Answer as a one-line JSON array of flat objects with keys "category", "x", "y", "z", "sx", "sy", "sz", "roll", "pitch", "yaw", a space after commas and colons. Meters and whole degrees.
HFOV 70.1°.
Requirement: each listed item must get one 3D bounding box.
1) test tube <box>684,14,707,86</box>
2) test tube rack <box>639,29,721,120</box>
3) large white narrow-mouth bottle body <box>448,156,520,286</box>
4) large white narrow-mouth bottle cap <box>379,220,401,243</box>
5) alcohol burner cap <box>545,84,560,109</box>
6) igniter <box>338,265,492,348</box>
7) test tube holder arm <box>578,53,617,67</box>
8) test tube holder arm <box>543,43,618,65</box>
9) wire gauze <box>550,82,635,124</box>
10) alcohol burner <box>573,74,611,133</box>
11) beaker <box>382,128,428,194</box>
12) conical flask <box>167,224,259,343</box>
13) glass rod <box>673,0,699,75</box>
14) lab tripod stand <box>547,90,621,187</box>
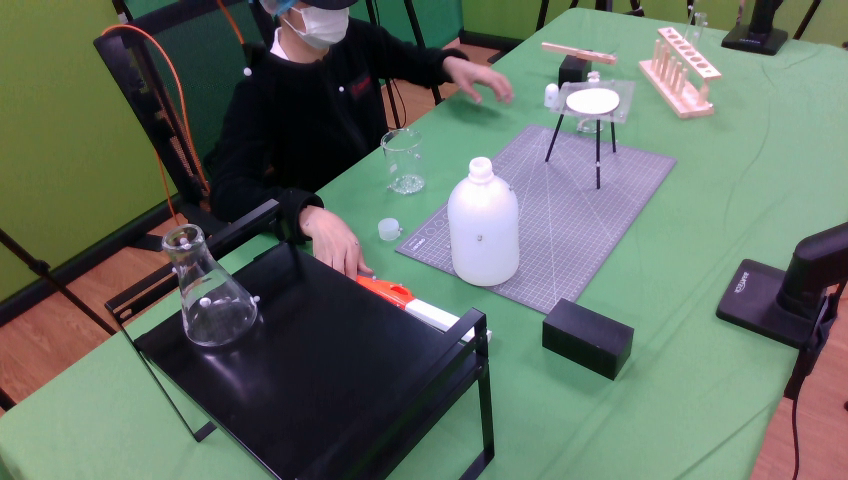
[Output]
[{"category": "test tube", "x": 0.541, "y": -0.379, "z": 1.216, "sx": 0.017, "sy": 0.151, "sz": 0.017, "roll": -2, "pitch": 44, "yaw": 2}, {"category": "test tube rack", "x": 0.527, "y": -0.351, "z": 1.262, "sx": 0.067, "sy": 0.085, "sz": 0.241, "roll": -8, "pitch": 40, "yaw": 1}, {"category": "large white narrow-mouth bottle body", "x": 0.086, "y": -0.032, "z": 0.869, "sx": 0.102, "sy": 0.195, "sz": 0.101, "roll": -4, "pitch": 40, "yaw": 4}, {"category": "large white narrow-mouth bottle cap", "x": -0.057, "y": -0.015, "z": 1.012, "sx": 0.038, "sy": 0.024, "sz": 0.037, "roll": -4, "pitch": 40, "yaw": 4}, {"category": "alcohol burner cap", "x": 0.274, "y": -0.308, "z": 1.285, "sx": 0.034, "sy": 0.048, "sz": 0.033, "roll": -5, "pitch": 42, "yaw": 5}, {"category": "igniter", "x": -0.025, "y": 0.089, "z": 0.876, "sx": 0.274, "sy": 0.025, "sz": 0.057, "roll": 21, "pitch": 29, "yaw": 32}, {"category": "test tube holder arm", "x": 0.376, "y": -0.393, "z": 1.314, "sx": 0.087, "sy": 0.015, "sz": 0.010, "roll": 26, "pitch": 51, "yaw": 32}, {"category": "test tube holder arm", "x": 0.345, "y": -0.413, "z": 1.341, "sx": 0.177, "sy": 0.015, "sz": 0.013, "roll": 25, "pitch": 50, "yaw": 31}, {"category": "wire gauze", "x": 0.285, "y": -0.236, "z": 1.020, "sx": 0.124, "sy": 0.011, "sz": 0.121, "roll": 10, "pitch": 44, "yaw": 22}, {"category": "alcohol burner", "x": 0.330, "y": -0.270, "z": 1.177, "sx": 0.078, "sy": 0.119, "sz": 0.077, "roll": -4, "pitch": 42, "yaw": 5}, {"category": "beaker", "x": -0.030, "y": -0.142, "z": 1.095, "sx": 0.073, "sy": 0.101, "sz": 0.084, "roll": 14, "pitch": 44, "yaw": 23}, {"category": "conical flask", "x": -0.220, "y": 0.041, "z": 0.613, "sx": 0.075, "sy": 0.122, "sz": 0.075, "roll": -5, "pitch": 40, "yaw": 4}, {"category": "glass rod", "x": 0.541, "y": -0.427, "z": 1.246, "sx": 0.008, "sy": 0.200, "sz": 0.008, "roll": 0, "pitch": 48, "yaw": 1}, {"category": "lab tripod stand", "x": 0.289, "y": -0.184, "z": 1.062, "sx": 0.148, "sy": 0.132, "sz": 0.147, "roll": -6, "pitch": 41, "yaw": 6}]
